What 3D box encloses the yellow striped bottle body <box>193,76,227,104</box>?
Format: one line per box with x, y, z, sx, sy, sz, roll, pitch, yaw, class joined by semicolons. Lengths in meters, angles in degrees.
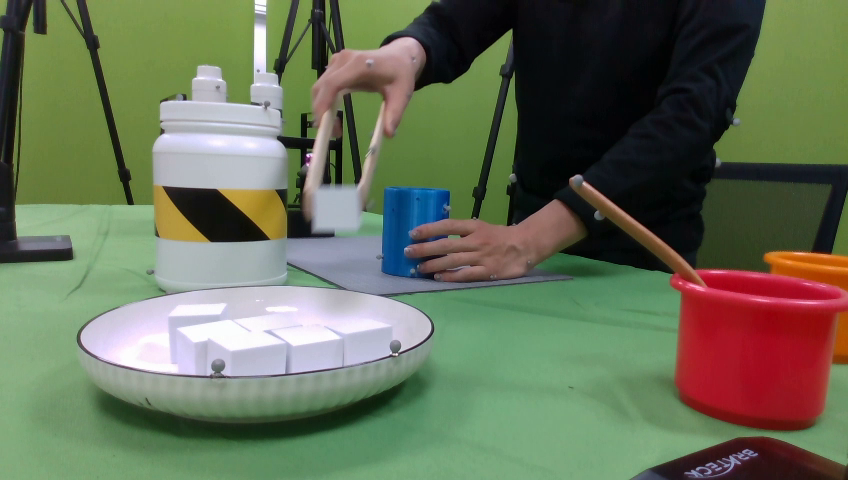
-0.414;-0.268;1.169;0.063;0.120;0.063;2;7;0;yellow striped bottle body

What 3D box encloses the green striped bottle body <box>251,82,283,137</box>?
-0.317;-0.270;1.220;0.063;0.119;0.063;2;7;0;green striped bottle body

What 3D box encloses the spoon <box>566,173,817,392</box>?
0.161;0.024;0.370;0.193;0.021;0.042;47;18;3;spoon

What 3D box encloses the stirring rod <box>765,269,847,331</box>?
0.352;0.020;0.484;0.176;0.006;0.014;-40;-6;13;stirring rod

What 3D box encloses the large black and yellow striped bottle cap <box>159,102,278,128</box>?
-0.207;-0.125;0.615;0.115;0.019;0.115;2;6;0;large black and yellow striped bottle cap

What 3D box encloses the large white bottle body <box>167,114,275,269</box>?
-0.256;-0.063;0.771;0.131;0.184;0.130;2;7;0;large white bottle body

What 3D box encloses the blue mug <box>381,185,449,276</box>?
-0.018;-0.016;0.764;0.083;0.106;0.116;-2;8;-24;blue mug

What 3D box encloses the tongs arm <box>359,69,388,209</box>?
-0.061;-0.121;0.611;0.051;0.026;0.384;0;27;2;tongs arm

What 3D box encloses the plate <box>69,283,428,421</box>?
-0.102;0.066;0.381;0.208;0.039;0.207;2;7;0;plate

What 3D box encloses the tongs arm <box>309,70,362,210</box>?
-0.086;-0.120;0.610;0.028;0.028;0.386;-5;27;0;tongs arm

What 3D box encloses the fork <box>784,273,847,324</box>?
0.332;0.018;0.444;0.028;0.018;0.207;-2;-35;-15;fork

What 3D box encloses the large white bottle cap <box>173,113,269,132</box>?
-0.254;-0.146;0.760;0.115;0.018;0.115;1;7;0;large white bottle cap

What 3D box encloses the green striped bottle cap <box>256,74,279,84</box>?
-0.314;-0.321;1.214;0.044;0.020;0.044;2;8;0;green striped bottle cap

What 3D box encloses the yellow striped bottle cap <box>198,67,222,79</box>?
-0.411;-0.320;1.163;0.044;0.018;0.044;1;6;0;yellow striped bottle cap

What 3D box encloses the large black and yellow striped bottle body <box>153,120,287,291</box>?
-0.208;-0.042;0.626;0.131;0.184;0.130;2;7;0;large black and yellow striped bottle body
